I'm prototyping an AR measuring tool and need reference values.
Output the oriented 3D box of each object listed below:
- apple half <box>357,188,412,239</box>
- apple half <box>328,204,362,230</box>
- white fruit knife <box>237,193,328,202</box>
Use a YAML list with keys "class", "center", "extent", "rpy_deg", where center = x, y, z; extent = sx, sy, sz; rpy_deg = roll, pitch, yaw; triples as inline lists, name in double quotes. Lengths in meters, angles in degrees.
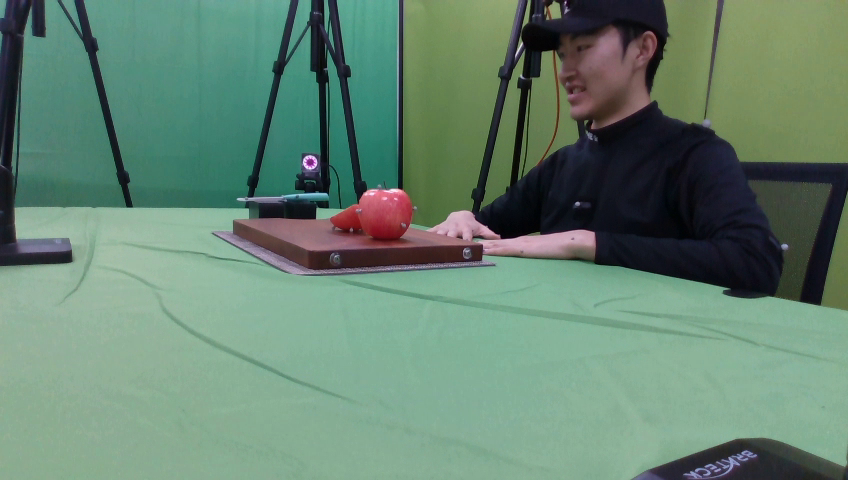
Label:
- class: "apple half"
  center: [-0.050, -0.037, 0.873]
  extent: [0.081, 0.074, 0.053]
  rpy_deg: [1, 10, -39]
- class: "apple half"
  center: [-0.107, -0.034, 0.954]
  extent: [0.081, 0.033, 0.081]
  rpy_deg: [-19, -5, -1]
- class: "white fruit knife"
  center: [-0.294, -0.088, 1.279]
  extent: [0.208, 0.016, 0.027]
  rpy_deg: [-6, -12, -36]
